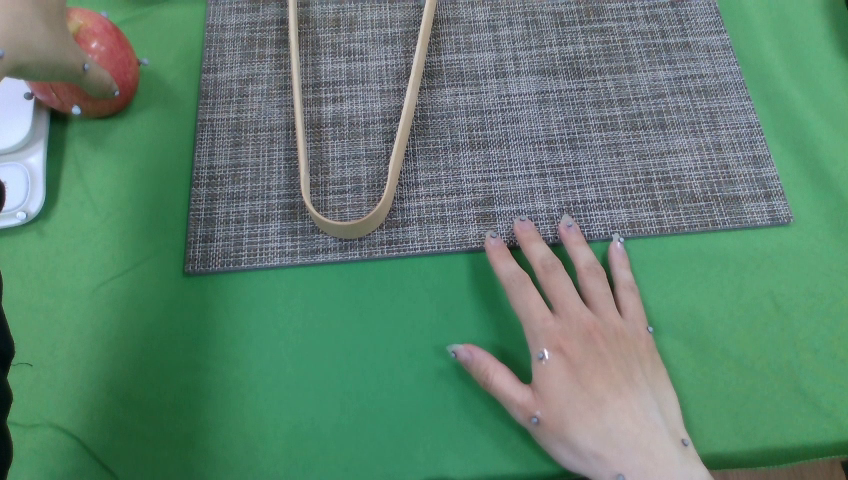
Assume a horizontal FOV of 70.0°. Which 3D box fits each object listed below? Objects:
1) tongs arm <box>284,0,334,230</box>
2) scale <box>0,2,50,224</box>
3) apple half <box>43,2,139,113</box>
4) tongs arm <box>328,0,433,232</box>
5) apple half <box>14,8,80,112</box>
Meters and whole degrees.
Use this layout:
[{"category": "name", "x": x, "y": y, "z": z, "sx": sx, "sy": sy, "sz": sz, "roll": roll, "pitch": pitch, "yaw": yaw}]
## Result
[{"category": "tongs arm", "x": -0.104, "y": -0.185, "z": 0.513, "sx": 0.028, "sy": 0.028, "sz": 0.384, "roll": -5, "pitch": 67, "yaw": -6}, {"category": "scale", "x": -0.376, "y": -0.099, "z": 0.483, "sx": 0.149, "sy": 0.032, "sz": 0.199, "roll": -10, "pitch": 67, "yaw": -3}, {"category": "apple half", "x": -0.255, "y": -0.143, "z": 0.476, "sx": 0.053, "sy": 0.075, "sz": 0.080, "roll": -11, "pitch": 63, "yaw": -7}, {"category": "tongs arm", "x": -0.019, "y": -0.184, "z": 0.509, "sx": 0.051, "sy": 0.027, "sz": 0.382, "roll": 7, "pitch": 68, "yaw": 3}, {"category": "apple half", "x": -0.293, "y": -0.134, "z": 0.471, "sx": 0.033, "sy": 0.082, "sz": 0.080, "roll": -12, "pitch": 67, "yaw": -6}]
